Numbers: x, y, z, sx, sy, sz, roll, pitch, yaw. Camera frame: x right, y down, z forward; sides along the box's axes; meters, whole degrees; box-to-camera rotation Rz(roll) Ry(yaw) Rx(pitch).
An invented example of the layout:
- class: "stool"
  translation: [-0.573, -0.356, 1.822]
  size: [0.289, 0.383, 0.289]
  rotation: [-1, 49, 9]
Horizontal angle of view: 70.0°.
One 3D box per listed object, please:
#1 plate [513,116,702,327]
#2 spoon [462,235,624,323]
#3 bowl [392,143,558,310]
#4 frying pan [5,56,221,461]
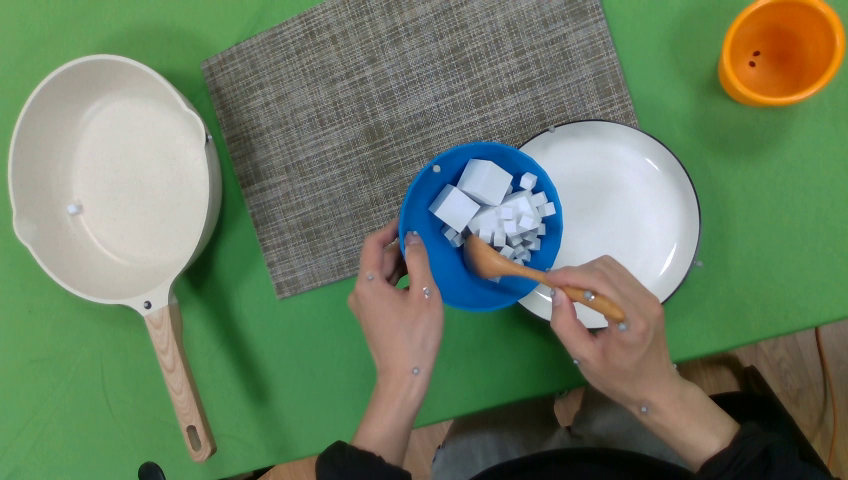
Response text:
- class: "plate"
  translation: [0.164, -0.017, 0.607]
  size: [0.207, 0.039, 0.208]
  rotation: [2, 99, 16]
- class: "spoon"
  translation: [0.088, 0.030, 0.500]
  size: [0.192, 0.022, 0.042]
  rotation: [19, 123, 52]
- class: "bowl"
  translation: [0.040, -0.018, 0.566]
  size: [0.152, 0.076, 0.152]
  rotation: [-3, 104, -11]
- class: "frying pan"
  translation: [-0.337, 0.026, 0.725]
  size: [0.306, 0.103, 0.486]
  rotation: [-23, 81, 18]
